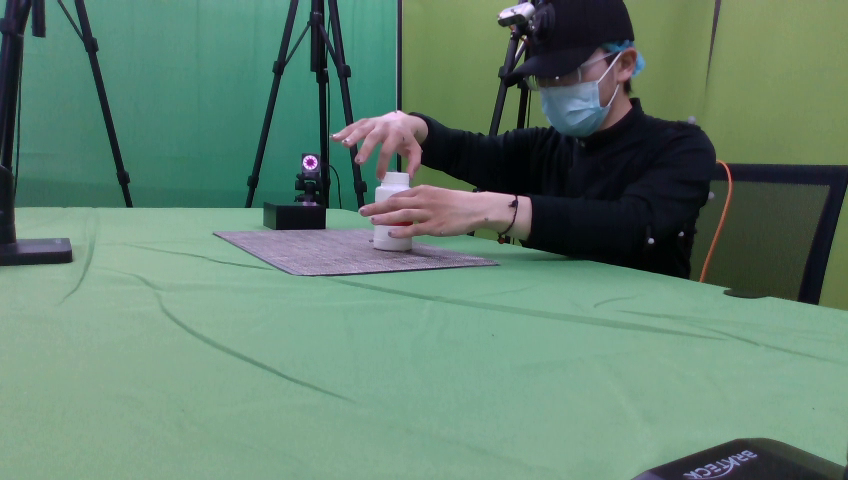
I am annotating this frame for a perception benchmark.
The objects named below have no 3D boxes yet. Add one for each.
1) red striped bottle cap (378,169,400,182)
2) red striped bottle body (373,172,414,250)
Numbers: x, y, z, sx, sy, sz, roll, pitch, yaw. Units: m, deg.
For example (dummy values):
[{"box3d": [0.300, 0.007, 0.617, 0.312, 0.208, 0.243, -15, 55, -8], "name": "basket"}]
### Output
[{"box3d": [-0.049, -0.099, 0.953, 0.044, 0.017, 0.044, 11, 10, -2], "name": "red striped bottle cap"}, {"box3d": [-0.048, -0.047, 0.957, 0.063, 0.119, 0.063, 2, 6, 0], "name": "red striped bottle body"}]
